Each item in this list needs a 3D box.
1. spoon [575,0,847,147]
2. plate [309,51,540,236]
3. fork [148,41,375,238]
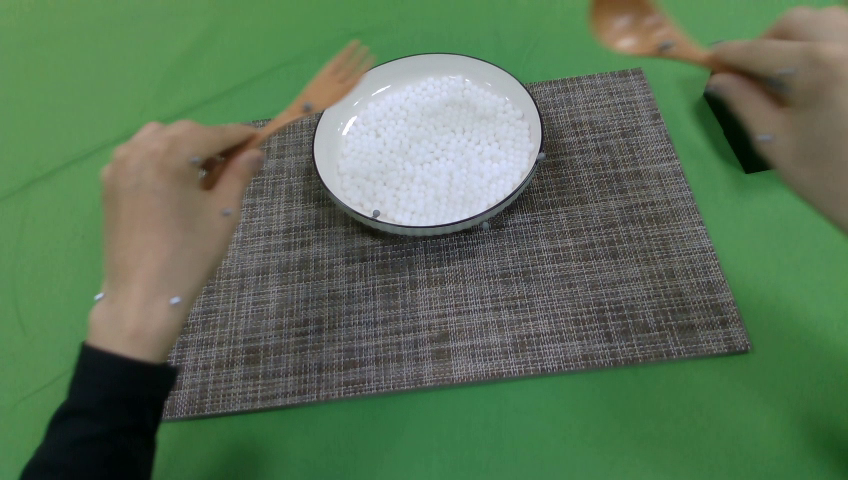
[{"bbox_3d":[0.184,-0.107,0.388,0.193,0.021,0.041,30,93,5],"label":"spoon"},{"bbox_3d":[0.000,-0.088,0.554,0.209,0.038,0.207,-3,58,5],"label":"plate"},{"bbox_3d":[-0.117,-0.072,0.437,0.207,0.019,0.028,-41,80,-8],"label":"fork"}]
